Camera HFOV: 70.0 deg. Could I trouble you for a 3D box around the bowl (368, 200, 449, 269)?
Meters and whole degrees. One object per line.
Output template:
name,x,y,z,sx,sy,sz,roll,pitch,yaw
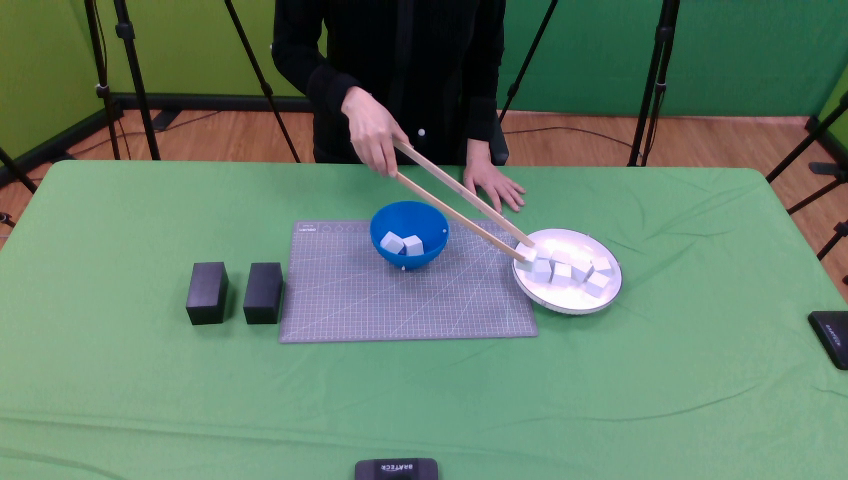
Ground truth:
bowl,-0.031,0.002,1.151,0.151,0.077,0.150,2,46,-2

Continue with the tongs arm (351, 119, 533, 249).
tongs arm,0.027,-0.097,1.075,0.384,0.026,0.050,40,69,9

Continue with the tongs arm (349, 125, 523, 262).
tongs arm,0.013,-0.080,1.066,0.387,0.028,0.028,36,71,8

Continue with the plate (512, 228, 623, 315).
plate,0.268,0.063,1.146,0.208,0.039,0.206,3,46,-3
